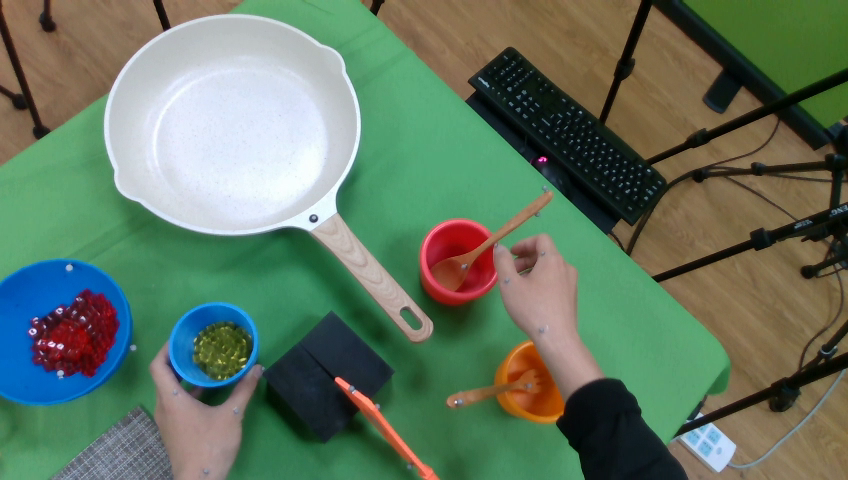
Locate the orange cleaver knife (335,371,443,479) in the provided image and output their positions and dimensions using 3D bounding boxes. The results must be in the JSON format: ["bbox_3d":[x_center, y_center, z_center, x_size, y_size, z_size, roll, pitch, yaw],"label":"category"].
[{"bbox_3d":[-0.025,0.220,0.660,0.012,0.076,0.213,-44,112,-19],"label":"orange cleaver knife"}]

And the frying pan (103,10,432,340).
[{"bbox_3d":[-0.160,-0.067,0.716,0.306,0.103,0.485,-37,74,-16],"label":"frying pan"}]

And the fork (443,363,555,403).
[{"bbox_3d":[0.087,0.156,0.660,0.209,0.018,0.028,6,66,-52],"label":"fork"}]

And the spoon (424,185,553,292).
[{"bbox_3d":[0.074,0.000,0.710,0.194,0.022,0.041,-39,80,26],"label":"spoon"}]

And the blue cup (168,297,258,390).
[{"bbox_3d":[-0.219,0.113,0.654,0.093,0.100,0.092,3,74,-9],"label":"blue cup"}]

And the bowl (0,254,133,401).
[{"bbox_3d":[-0.382,0.097,0.646,0.152,0.077,0.150,3,73,-8],"label":"bowl"}]
